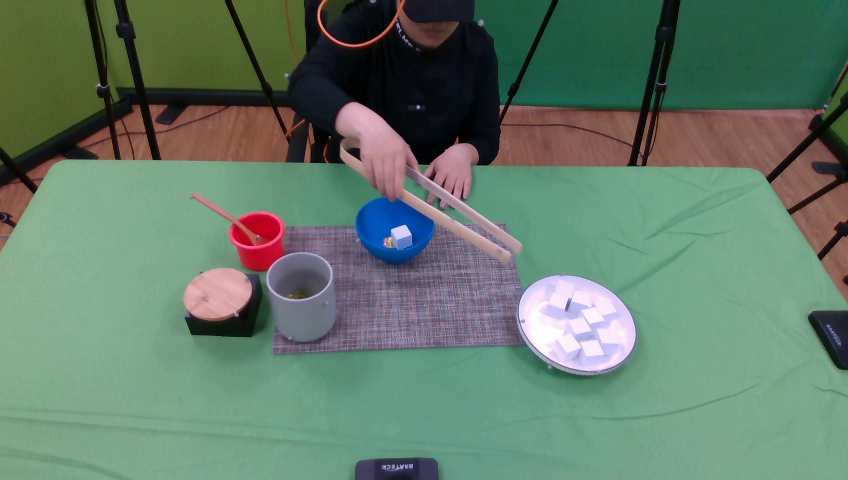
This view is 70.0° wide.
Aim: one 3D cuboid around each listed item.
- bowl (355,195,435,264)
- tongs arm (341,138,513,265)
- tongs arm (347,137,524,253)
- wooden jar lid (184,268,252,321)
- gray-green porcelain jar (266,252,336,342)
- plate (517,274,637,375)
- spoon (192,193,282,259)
[{"bbox_3d":[-0.056,-0.008,1.158,0.151,0.077,0.150,2,46,-2],"label":"bowl"},{"bbox_3d":[-0.002,-0.073,1.064,0.383,0.026,0.050,31,50,17],"label":"tongs arm"},{"bbox_3d":[0.013,-0.086,1.080,0.386,0.028,0.028,34,55,19],"label":"tongs arm"},{"bbox_3d":[-0.343,0.092,1.015,0.108,0.021,0.107,3,46,-3],"label":"wooden jar lid"},{"bbox_3d":[-0.202,0.100,1.009,0.106,0.127,0.105,2,46,-2],"label":"gray-green porcelain jar"},{"bbox_3d":[0.264,0.149,1.060,0.209,0.038,0.208,3,46,-3],"label":"plate"},{"bbox_3d":[-0.342,-0.027,1.115,0.194,0.021,0.041,43,41,-25],"label":"spoon"}]
